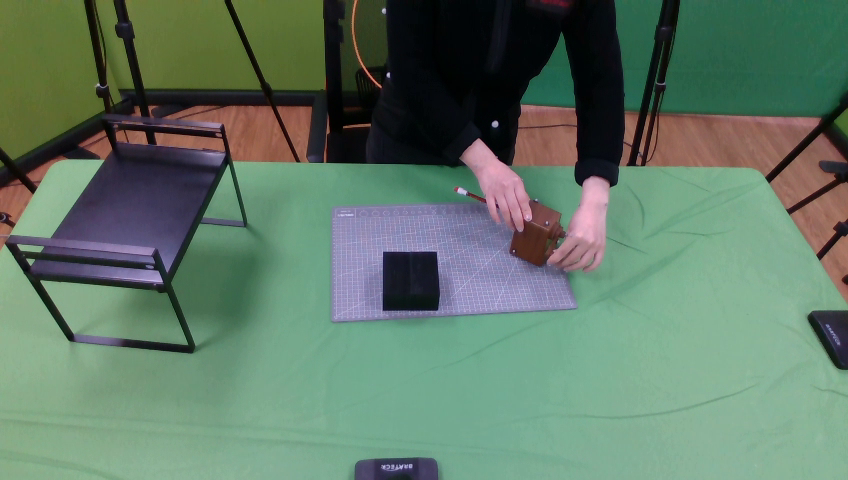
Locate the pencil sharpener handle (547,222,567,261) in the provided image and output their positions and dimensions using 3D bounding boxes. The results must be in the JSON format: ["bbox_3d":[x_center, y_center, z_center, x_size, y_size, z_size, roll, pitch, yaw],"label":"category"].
[{"bbox_3d":[0.253,0.004,1.122,0.030,0.036,0.067,27,89,21],"label":"pencil sharpener handle"}]

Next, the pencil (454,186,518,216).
[{"bbox_3d":[0.141,-0.067,1.173,0.193,0.012,0.012,25,50,24],"label":"pencil"}]

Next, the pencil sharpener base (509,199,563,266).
[{"bbox_3d":[0.216,-0.012,1.160,0.076,0.107,0.061,27,50,21],"label":"pencil sharpener base"}]
